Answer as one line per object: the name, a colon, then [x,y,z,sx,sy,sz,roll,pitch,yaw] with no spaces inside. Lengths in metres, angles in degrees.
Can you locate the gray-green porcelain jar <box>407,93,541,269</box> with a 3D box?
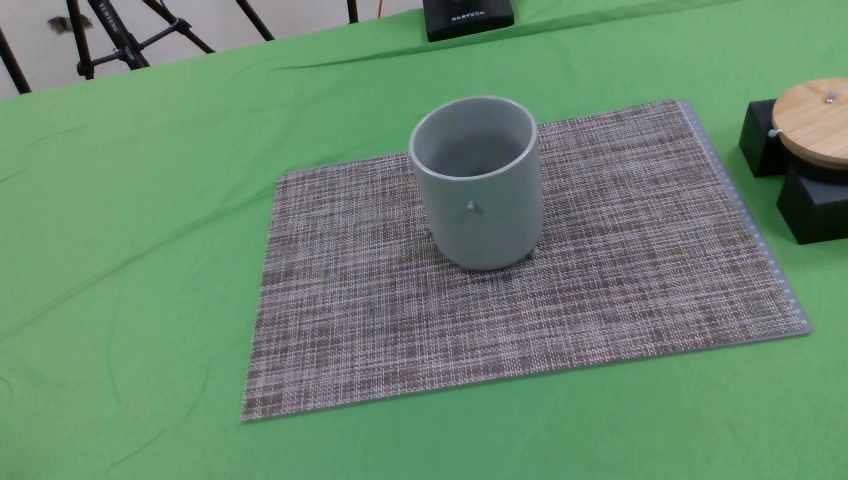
gray-green porcelain jar: [0.048,-0.045,0.531,0.106,0.128,0.105,-7,48,8]

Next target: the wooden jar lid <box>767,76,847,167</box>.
wooden jar lid: [0.350,-0.100,0.512,0.108,0.021,0.107,-7,50,9]
